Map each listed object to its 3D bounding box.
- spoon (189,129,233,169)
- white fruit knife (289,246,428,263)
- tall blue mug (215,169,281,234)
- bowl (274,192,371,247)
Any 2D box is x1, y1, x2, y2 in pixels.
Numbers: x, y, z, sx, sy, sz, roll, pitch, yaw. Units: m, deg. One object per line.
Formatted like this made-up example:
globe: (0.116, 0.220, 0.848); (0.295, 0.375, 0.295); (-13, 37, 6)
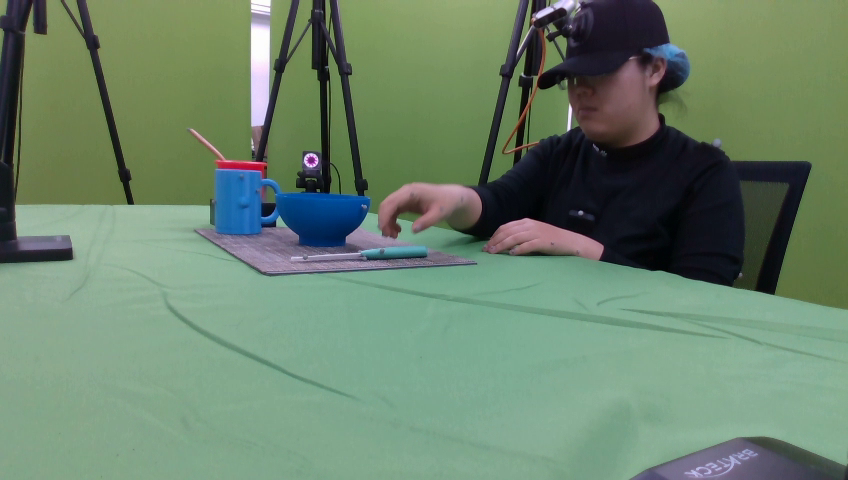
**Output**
spoon: (-0.388, -0.150, 1.174); (0.193, 0.021, 0.042); (49, 20, 6)
white fruit knife: (-0.082, 0.021, 0.822); (0.208, 0.016, 0.027); (-3, -20, -30)
tall blue mug: (-0.313, -0.069, 1.061); (0.077, 0.108, 0.108); (6, 8, 31)
bowl: (-0.161, -0.033, 0.958); (0.151, 0.077, 0.151); (3, 7, 0)
